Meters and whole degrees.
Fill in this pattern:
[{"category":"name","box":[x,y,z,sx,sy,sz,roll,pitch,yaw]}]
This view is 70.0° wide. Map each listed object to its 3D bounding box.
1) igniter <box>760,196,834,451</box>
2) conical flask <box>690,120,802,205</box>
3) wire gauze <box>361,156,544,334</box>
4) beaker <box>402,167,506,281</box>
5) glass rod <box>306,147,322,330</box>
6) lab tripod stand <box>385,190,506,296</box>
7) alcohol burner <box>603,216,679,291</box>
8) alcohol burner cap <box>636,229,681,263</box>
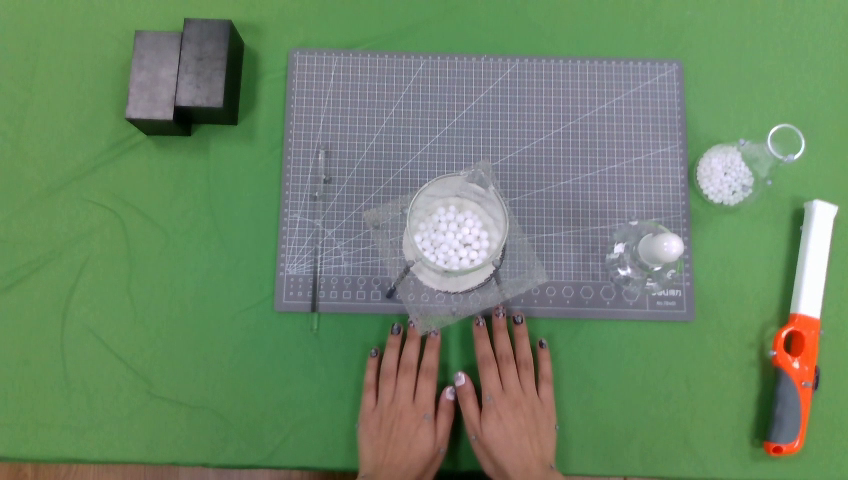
[{"category":"igniter","box":[0.397,0.087,0.643,0.057,0.025,0.275,16,81,-9]},{"category":"conical flask","box":[0.333,-0.084,0.621,0.075,0.122,0.075,0,80,0]},{"category":"wire gauze","box":[0.025,0.003,0.526,0.125,0.011,0.121,-23,85,-6]},{"category":"beaker","box":[0.023,-0.008,0.479,0.074,0.100,0.084,23,81,2]},{"category":"glass rod","box":[-0.118,-0.003,0.654,0.008,0.008,0.199,2,84,-1]},{"category":"lab tripod stand","box":[0.023,0.014,0.591,0.148,0.132,0.148,0,83,0]},{"category":"alcohol burner","box":[0.222,0.011,0.605,0.078,0.119,0.077,0,79,1]},{"category":"alcohol burner cap","box":[0.223,0.004,0.569,0.034,0.048,0.034,0,86,-2]}]
